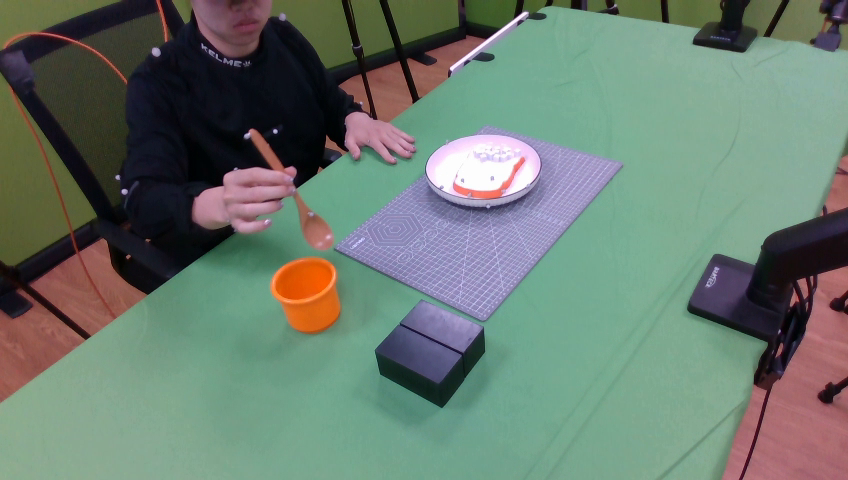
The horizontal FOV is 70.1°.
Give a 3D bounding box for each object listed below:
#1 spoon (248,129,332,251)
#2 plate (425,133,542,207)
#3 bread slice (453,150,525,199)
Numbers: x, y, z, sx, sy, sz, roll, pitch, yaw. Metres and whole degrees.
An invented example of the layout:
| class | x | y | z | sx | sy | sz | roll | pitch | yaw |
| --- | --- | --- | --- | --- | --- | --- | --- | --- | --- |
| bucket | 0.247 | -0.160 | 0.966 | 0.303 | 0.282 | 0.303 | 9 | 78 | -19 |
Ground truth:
| class | x | y | z | sx | sy | sz | roll | pitch | yaw |
| --- | --- | --- | --- | --- | --- | --- | --- | --- | --- |
| spoon | -0.175 | -0.064 | 0.801 | 0.021 | 0.195 | 0.042 | 16 | 51 | 44 |
| plate | 0.106 | -0.121 | 1.079 | 0.209 | 0.038 | 0.208 | -4 | 41 | 4 |
| bread slice | 0.112 | -0.118 | 1.079 | 0.104 | 0.019 | 0.131 | 11 | 42 | 21 |
